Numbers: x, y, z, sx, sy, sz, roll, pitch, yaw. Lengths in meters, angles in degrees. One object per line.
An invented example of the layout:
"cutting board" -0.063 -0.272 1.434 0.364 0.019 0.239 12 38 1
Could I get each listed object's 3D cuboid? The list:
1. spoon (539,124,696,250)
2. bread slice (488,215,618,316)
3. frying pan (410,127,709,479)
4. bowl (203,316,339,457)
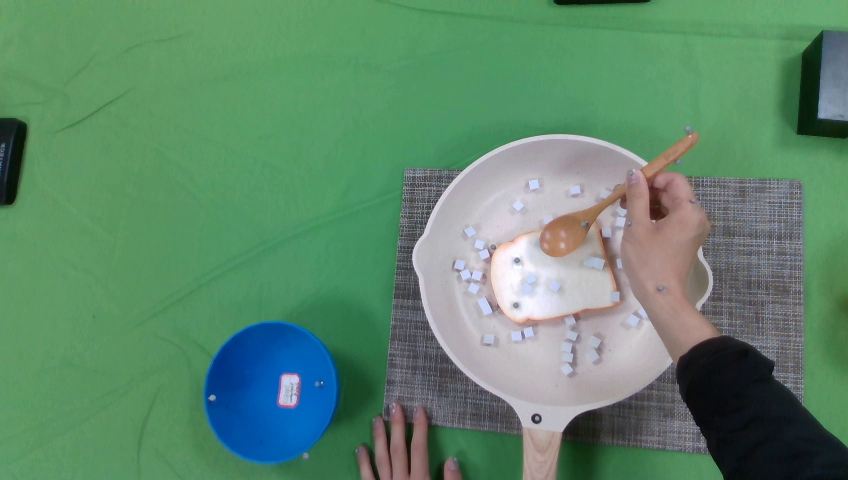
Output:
"spoon" 0.189 -0.049 0.606 0.194 0.022 0.041 -43 74 41
"bread slice" 0.141 0.032 0.685 0.134 0.018 0.106 -18 79 3
"frying pan" 0.125 0.125 0.632 0.306 0.103 0.485 6 74 11
"bowl" -0.161 0.162 0.688 0.151 0.077 0.151 -1 82 8
